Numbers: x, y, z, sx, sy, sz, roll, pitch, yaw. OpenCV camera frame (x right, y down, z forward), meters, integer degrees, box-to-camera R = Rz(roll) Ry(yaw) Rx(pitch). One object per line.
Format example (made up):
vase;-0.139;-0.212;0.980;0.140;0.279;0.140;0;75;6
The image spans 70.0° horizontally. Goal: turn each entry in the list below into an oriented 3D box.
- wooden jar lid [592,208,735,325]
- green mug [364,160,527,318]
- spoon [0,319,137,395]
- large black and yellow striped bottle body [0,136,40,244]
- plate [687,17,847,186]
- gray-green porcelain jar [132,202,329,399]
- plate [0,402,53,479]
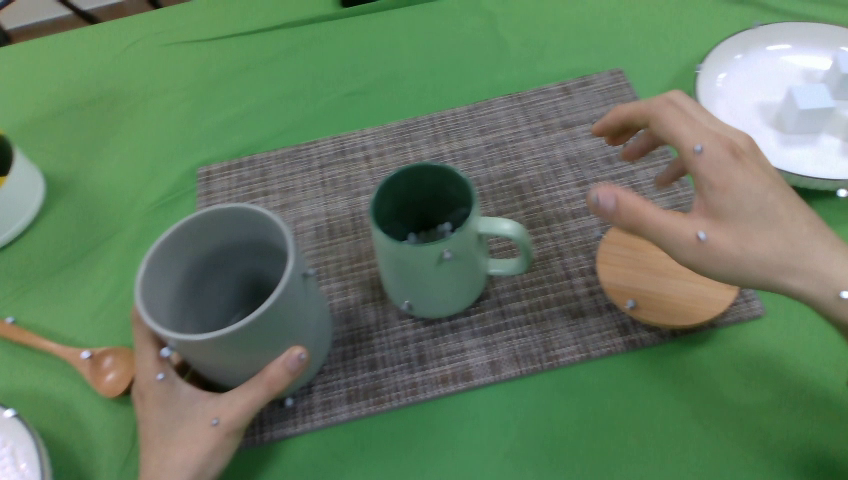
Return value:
wooden jar lid;0.190;0.022;0.486;0.108;0.021;0.107;-4;56;7
green mug;0.018;0.003;0.472;0.125;0.106;0.092;6;56;11
spoon;-0.317;0.088;0.513;0.193;0.022;0.041;14;76;16
large black and yellow striped bottle body;-0.467;-0.080;0.549;0.130;0.186;0.129;-4;56;6
plate;0.350;-0.127;0.559;0.207;0.039;0.205;-4;56;6
gray-green porcelain jar;-0.131;0.052;0.445;0.106;0.128;0.105;-4;55;6
plate;-0.360;0.213;0.425;0.209;0.038;0.207;-3;55;5
